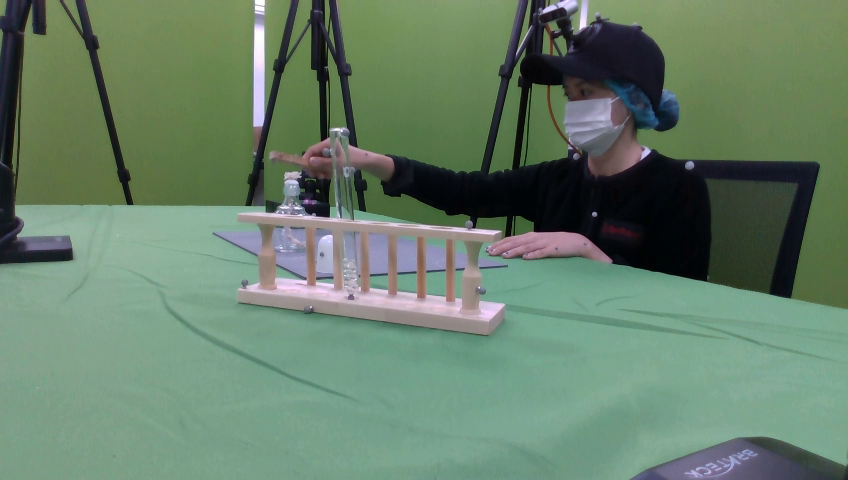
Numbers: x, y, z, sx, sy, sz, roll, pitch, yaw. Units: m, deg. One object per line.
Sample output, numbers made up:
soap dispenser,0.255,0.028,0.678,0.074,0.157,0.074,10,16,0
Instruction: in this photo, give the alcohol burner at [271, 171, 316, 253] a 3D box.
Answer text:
alcohol burner,-0.196,-0.041,0.884,0.078,0.119,0.078,3,5,0

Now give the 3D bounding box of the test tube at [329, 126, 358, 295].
test tube,-0.071,-0.025,0.534,0.017,0.150,0.017,-3,10,1

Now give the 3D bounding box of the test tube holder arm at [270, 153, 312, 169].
test tube holder arm,-0.245,-0.145,1.120,0.010,0.015,0.088,4,-3,40

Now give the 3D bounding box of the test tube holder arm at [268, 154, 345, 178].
test tube holder arm,-0.221,-0.141,1.158,0.013,0.015,0.179,4,-3,40

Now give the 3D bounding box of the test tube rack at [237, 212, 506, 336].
test tube rack,-0.049,0.024,0.552,0.242,0.085,0.067,5,8,18

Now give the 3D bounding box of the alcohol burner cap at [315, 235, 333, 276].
alcohol burner cap,-0.116,0.018,0.728,0.034,0.048,0.034,3,6,0
